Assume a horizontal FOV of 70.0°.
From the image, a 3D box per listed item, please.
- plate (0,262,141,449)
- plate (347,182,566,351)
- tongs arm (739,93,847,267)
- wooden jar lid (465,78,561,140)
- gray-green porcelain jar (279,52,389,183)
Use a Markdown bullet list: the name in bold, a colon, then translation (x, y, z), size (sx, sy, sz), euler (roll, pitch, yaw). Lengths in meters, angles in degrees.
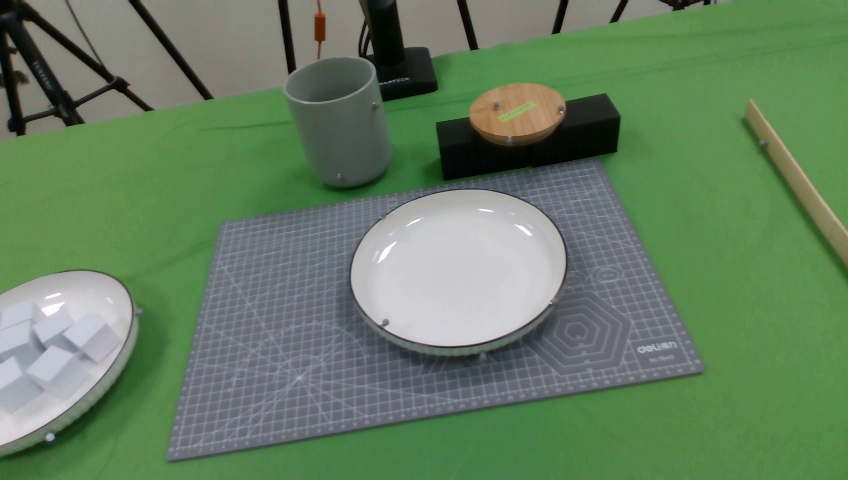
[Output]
- **plate**: translation (-0.372, 0.109, 0.582), size (0.207, 0.039, 0.205), euler (-5, 45, 6)
- **plate**: translation (0.031, 0.024, 0.584), size (0.209, 0.038, 0.207), euler (-6, 45, 6)
- **tongs arm**: translation (0.388, -0.032, 0.581), size (0.028, 0.028, 0.383), euler (-6, 44, 2)
- **wooden jar lid**: translation (0.101, -0.148, 0.690), size (0.108, 0.021, 0.107), euler (-5, 46, 5)
- **gray-green porcelain jar**: translation (-0.100, -0.140, 0.716), size (0.106, 0.128, 0.105), euler (-6, 44, 6)
